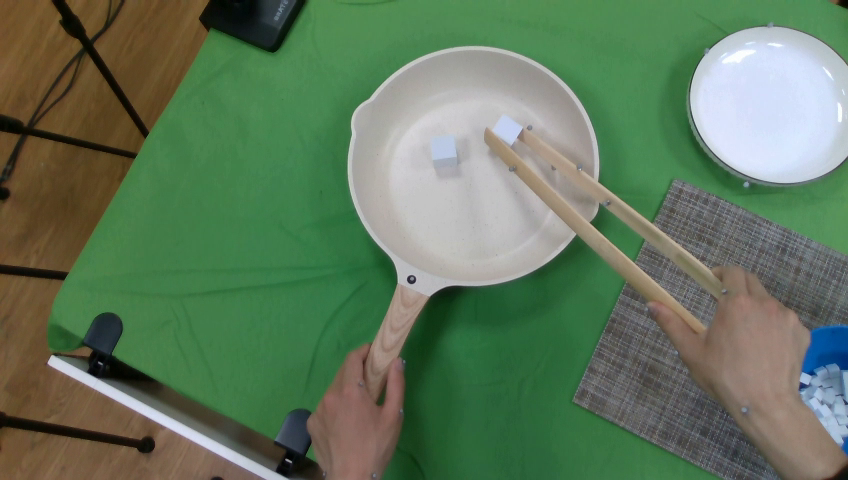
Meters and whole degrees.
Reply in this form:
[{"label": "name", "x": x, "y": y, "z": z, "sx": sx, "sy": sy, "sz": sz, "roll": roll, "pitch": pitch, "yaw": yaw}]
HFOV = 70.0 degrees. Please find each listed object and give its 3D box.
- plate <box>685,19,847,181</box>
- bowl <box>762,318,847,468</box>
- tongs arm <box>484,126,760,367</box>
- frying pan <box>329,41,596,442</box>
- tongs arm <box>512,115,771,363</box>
[{"label": "plate", "x": 0.424, "y": -0.169, "z": 0.744, "sx": 0.207, "sy": 0.039, "sz": 0.206, "roll": -1, "pitch": 79, "yaw": 3}, {"label": "bowl", "x": 0.430, "y": 0.161, "z": 0.653, "sx": 0.151, "sy": 0.077, "sz": 0.150, "roll": 0, "pitch": 79, "yaw": 3}, {"label": "tongs arm", "x": 0.172, "y": -0.013, "z": 0.622, "sx": 0.028, "sy": 0.028, "sz": 0.383, "roll": -23, "pitch": 49, "yaw": -20}, {"label": "frying pan", "x": 0.010, "y": -0.002, "z": 0.698, "sx": 0.306, "sy": 0.103, "sz": 0.486, "roll": 24, "pitch": 72, "yaw": 8}, {"label": "tongs arm", "x": 0.196, "y": -0.024, "z": 0.630, "sx": 0.051, "sy": 0.027, "sz": 0.380, "roll": -28, "pitch": 51, "yaw": -20}]
